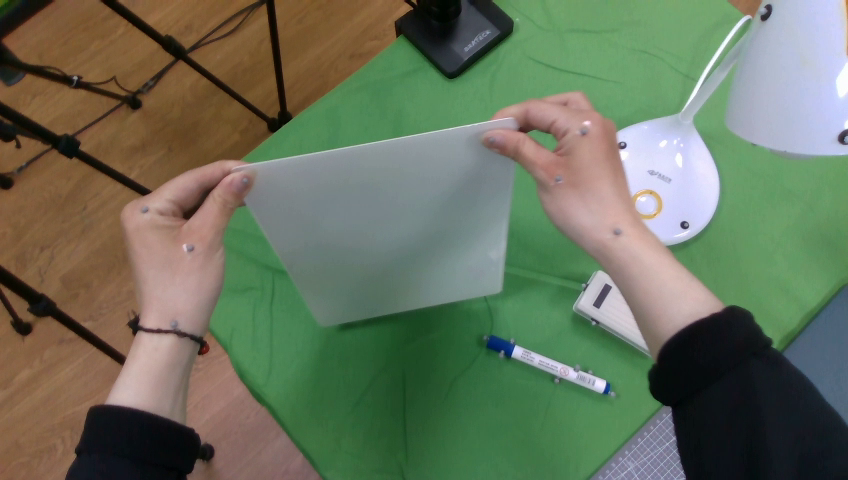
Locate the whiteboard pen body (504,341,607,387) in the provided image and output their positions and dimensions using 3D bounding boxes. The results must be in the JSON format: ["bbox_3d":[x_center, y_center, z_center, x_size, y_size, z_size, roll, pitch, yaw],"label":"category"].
[{"bbox_3d":[0.140,0.137,0.694,0.140,0.017,0.017,19,74,9],"label":"whiteboard pen body"}]

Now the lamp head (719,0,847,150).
[{"bbox_3d":[0.262,-0.137,0.400,0.112,0.124,0.111,-6,29,3],"label":"lamp head"}]

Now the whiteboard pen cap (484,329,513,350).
[{"bbox_3d":[0.087,0.116,0.702,0.033,0.018,0.018,20,75,10],"label":"whiteboard pen cap"}]

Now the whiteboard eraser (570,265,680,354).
[{"bbox_3d":[0.230,0.079,0.696,0.112,0.042,0.055,31,78,10],"label":"whiteboard eraser"}]

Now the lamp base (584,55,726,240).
[{"bbox_3d":[0.278,-0.111,0.679,0.160,0.181,0.178,16,72,7],"label":"lamp base"}]

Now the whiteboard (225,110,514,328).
[{"bbox_3d":[-0.039,-0.053,0.605,0.217,0.308,0.142,-10,60,-1],"label":"whiteboard"}]

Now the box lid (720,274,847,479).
[{"bbox_3d":[0.538,0.240,0.653,0.263,0.015,0.369,-41,76,-10],"label":"box lid"}]
